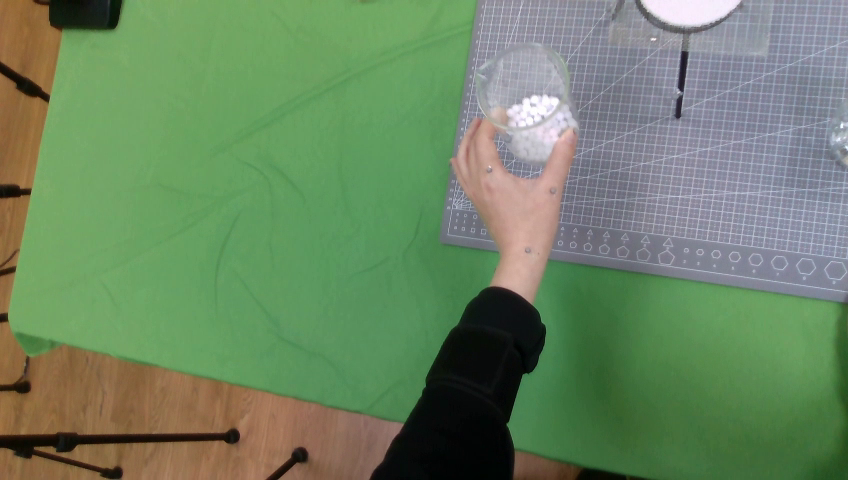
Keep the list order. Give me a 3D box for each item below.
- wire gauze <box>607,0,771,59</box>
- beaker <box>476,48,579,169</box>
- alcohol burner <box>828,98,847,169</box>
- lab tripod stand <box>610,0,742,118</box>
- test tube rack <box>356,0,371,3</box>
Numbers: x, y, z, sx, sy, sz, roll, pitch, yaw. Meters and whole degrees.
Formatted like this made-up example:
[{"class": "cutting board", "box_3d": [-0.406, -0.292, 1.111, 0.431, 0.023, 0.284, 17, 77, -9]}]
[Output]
[{"class": "wire gauze", "box_3d": [0.217, -0.210, 0.491, 0.124, 0.011, 0.121, 8, 88, 18]}, {"class": "beaker", "box_3d": [0.093, -0.109, 0.527, 0.083, 0.101, 0.074, 26, 88, 24]}, {"class": "alcohol burner", "box_3d": [0.389, -0.096, 0.507, 0.077, 0.120, 0.077, -2, 84, 16]}, {"class": "lab tripod stand", "box_3d": [0.237, -0.202, 0.555, 0.148, 0.132, 0.148, -1, 85, 16]}, {"class": "test tube rack", "box_3d": [0.019, -0.341, 0.665, 0.242, 0.085, 0.066, -9, 81, 16]}]
